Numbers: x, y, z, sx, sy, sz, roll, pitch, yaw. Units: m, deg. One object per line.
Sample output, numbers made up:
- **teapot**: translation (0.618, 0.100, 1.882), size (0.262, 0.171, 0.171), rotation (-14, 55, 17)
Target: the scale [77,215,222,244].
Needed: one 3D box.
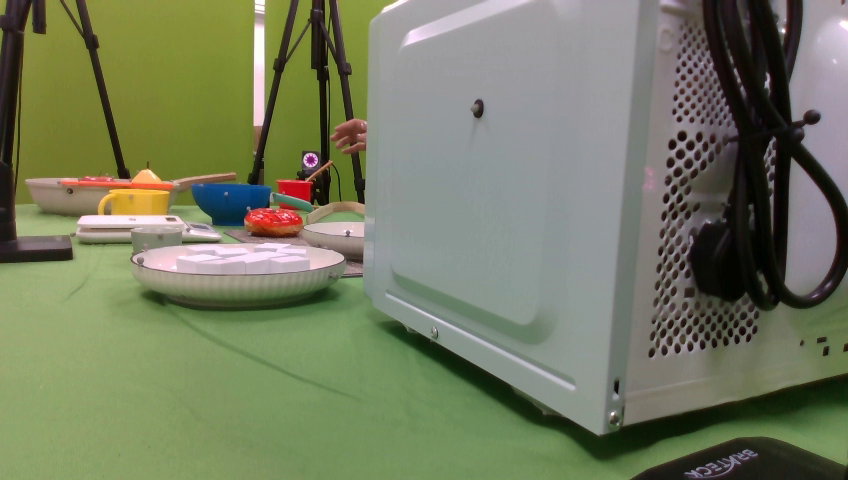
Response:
- **scale**: translation (-0.434, -0.019, 0.963), size (0.202, 0.031, 0.148), rotation (-1, 9, -27)

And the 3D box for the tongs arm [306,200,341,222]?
- **tongs arm**: translation (-0.234, -0.070, 1.414), size (0.028, 0.028, 0.387), rotation (-4, 7, 1)

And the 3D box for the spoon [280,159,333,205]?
- **spoon**: translation (-0.316, -0.159, 1.640), size (0.194, 0.022, 0.041), rotation (-50, 32, -20)

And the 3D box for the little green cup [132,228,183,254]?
- **little green cup**: translation (-0.342, 0.006, 0.779), size (0.061, 0.038, 0.061), rotation (2, 8, 0)

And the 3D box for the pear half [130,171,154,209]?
- **pear half**: translation (-0.640, -0.113, 1.361), size (0.031, 0.088, 0.070), rotation (5, 10, 5)

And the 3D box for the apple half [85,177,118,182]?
- **apple half**: translation (-0.673, -0.096, 1.269), size (0.082, 0.081, 0.032), rotation (-4, 6, -40)

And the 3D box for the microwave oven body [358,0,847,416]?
- **microwave oven body**: translation (0.211, -0.047, 0.474), size (0.444, 0.260, 0.324), rotation (-1, 7, -28)

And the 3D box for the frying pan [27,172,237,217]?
- **frying pan**: translation (-0.624, -0.118, 1.387), size (0.305, 0.102, 0.490), rotation (8, 17, 32)

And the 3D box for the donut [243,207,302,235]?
- **donut**: translation (-0.261, -0.032, 1.043), size (0.099, 0.048, 0.099), rotation (4, 9, 0)

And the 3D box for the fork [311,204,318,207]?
- **fork**: translation (-0.356, -0.105, 1.526), size (0.208, 0.018, 0.028), rotation (16, -5, -41)

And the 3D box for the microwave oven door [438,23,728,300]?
- **microwave oven door**: translation (0.181, -0.073, 0.621), size (0.358, 0.243, 0.039), rotation (-2, 8, -29)

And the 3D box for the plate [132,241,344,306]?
- **plate**: translation (-0.187, 0.033, 0.625), size (0.208, 0.039, 0.207), rotation (2, 8, 0)

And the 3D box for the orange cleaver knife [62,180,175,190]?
- **orange cleaver knife**: translation (-0.600, -0.110, 1.193), size (0.212, 0.012, 0.077), rotation (1, 8, -13)

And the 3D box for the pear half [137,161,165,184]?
- **pear half**: translation (-0.604, -0.120, 1.354), size (0.056, 0.110, 0.076), rotation (3, 11, 7)

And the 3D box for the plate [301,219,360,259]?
- **plate**: translation (-0.077, -0.002, 0.893), size (0.209, 0.038, 0.209), rotation (3, 8, 0)

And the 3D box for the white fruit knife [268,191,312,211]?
- **white fruit knife**: translation (-0.364, -0.105, 1.464), size (0.208, 0.027, 0.016), rotation (15, 0, -34)

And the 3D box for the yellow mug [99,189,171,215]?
- **yellow mug**: translation (-0.518, -0.055, 1.080), size (0.099, 0.064, 0.131), rotation (6, 9, 26)

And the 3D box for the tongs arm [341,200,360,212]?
- **tongs arm**: translation (-0.148, -0.070, 1.429), size (0.051, 0.026, 0.383), rotation (-3, 8, -14)

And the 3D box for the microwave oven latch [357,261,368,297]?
- **microwave oven latch**: translation (-0.019, 0.033, 0.531), size (0.079, 0.029, 0.030), rotation (-1, 7, -27)

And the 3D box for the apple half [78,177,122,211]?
- **apple half**: translation (-0.698, -0.099, 1.298), size (0.081, 0.074, 0.053), rotation (-9, 9, -40)

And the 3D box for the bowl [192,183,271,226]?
- **bowl**: translation (-0.382, -0.071, 1.202), size (0.151, 0.077, 0.151), rotation (3, 7, 0)
